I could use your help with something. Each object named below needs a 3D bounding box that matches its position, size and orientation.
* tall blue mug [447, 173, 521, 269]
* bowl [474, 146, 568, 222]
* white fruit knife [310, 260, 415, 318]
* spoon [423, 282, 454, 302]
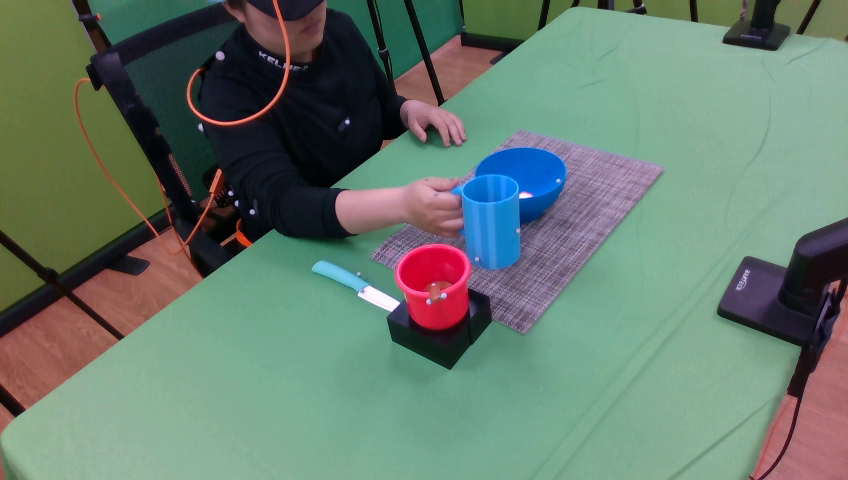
[{"bbox_3d":[0.078,-0.027,0.820,0.107,0.108,0.077,4,37,15],"label":"tall blue mug"},{"bbox_3d":[0.161,-0.083,1.001,0.151,0.077,0.150,-5,40,5],"label":"bowl"},{"bbox_3d":[-0.094,0.074,0.920,0.206,0.016,0.027,24,76,31],"label":"white fruit knife"},{"bbox_3d":[0.015,0.062,0.733,0.041,0.194,0.021,-6,86,3],"label":"spoon"}]
